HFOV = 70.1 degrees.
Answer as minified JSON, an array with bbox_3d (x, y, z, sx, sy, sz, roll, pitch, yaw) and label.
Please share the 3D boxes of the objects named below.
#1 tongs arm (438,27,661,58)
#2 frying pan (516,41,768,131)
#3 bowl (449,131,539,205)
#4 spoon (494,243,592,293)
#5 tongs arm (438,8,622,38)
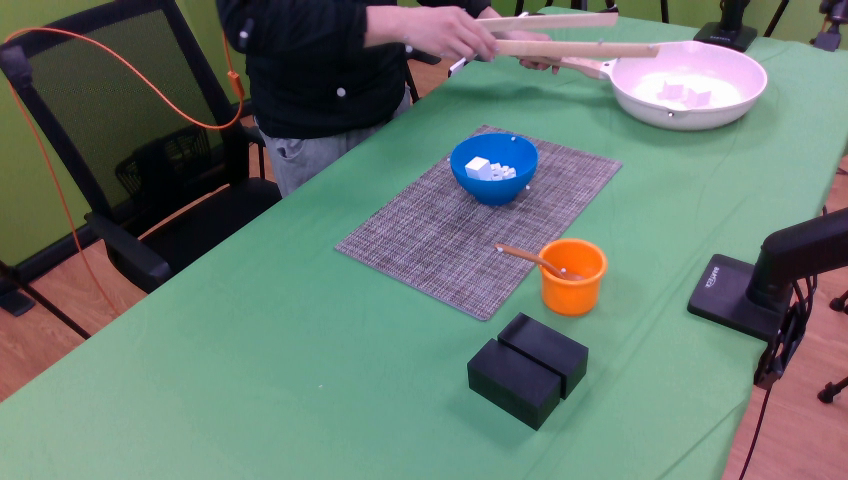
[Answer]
[{"bbox_3d":[0.215,-0.329,1.010,0.387,0.026,0.050,-4,48,-15],"label":"tongs arm"},{"bbox_3d":[0.424,-0.338,1.236,0.486,0.103,0.307,18,45,15],"label":"frying pan"},{"bbox_3d":[0.120,-0.113,1.034,0.151,0.077,0.150,-4,41,4],"label":"bowl"},{"bbox_3d":[0.161,0.035,0.808,0.021,0.195,0.041,-48,40,20],"label":"spoon"},{"bbox_3d":[0.194,-0.382,1.059,0.390,0.028,0.028,-13,54,-23],"label":"tongs arm"}]
